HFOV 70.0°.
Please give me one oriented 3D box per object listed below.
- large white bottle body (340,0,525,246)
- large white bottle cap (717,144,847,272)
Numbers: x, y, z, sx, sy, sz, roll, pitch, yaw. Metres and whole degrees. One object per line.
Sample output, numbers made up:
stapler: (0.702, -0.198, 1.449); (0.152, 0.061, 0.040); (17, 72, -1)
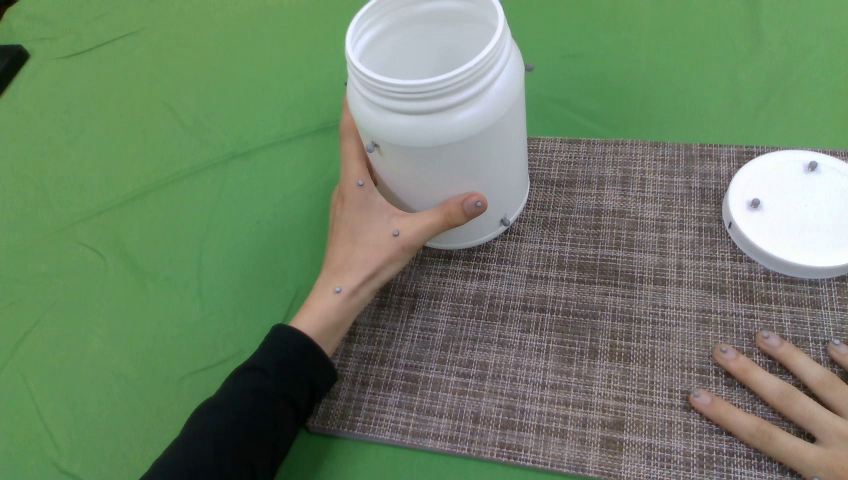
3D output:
large white bottle body: (0.011, -0.094, 0.477); (0.130, 0.186, 0.129); (-5, 57, 8)
large white bottle cap: (0.295, -0.028, 0.479); (0.115, 0.018, 0.114); (-5, 57, 8)
